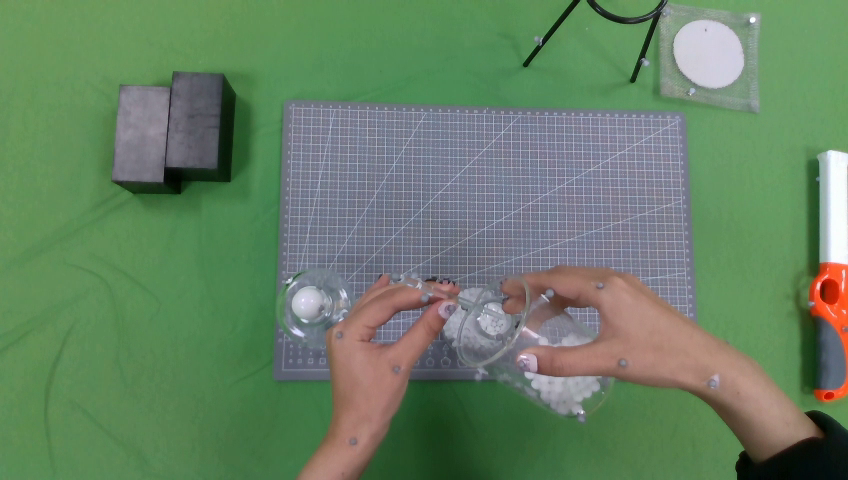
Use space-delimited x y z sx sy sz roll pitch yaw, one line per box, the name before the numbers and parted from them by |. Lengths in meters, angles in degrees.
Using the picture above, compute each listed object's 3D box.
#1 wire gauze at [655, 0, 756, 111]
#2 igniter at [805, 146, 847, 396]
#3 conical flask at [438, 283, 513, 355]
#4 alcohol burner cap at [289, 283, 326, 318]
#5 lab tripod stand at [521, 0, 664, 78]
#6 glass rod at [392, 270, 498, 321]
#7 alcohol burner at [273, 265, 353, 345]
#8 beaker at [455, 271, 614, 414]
wire gauze | 0.328 -0.218 0.705 0.125 0.011 0.121 7 82 -5
igniter | 0.447 0.032 0.668 0.057 0.025 0.275 8 81 -14
conical flask | 0.055 0.075 0.583 0.075 0.122 0.075 1 81 -4
alcohol burner cap | -0.105 0.054 0.542 0.034 0.048 0.034 1 85 -7
lab tripod stand | 0.182 -0.238 0.634 0.148 0.131 0.148 0 84 -3
glass rod | 0.024 0.046 0.470 0.008 0.201 0.008 -7 73 24
alcohol burner | -0.108 0.060 0.577 0.078 0.119 0.077 0 81 -2
beaker | 0.083 0.079 0.450 0.101 0.083 0.074 34 86 -22
